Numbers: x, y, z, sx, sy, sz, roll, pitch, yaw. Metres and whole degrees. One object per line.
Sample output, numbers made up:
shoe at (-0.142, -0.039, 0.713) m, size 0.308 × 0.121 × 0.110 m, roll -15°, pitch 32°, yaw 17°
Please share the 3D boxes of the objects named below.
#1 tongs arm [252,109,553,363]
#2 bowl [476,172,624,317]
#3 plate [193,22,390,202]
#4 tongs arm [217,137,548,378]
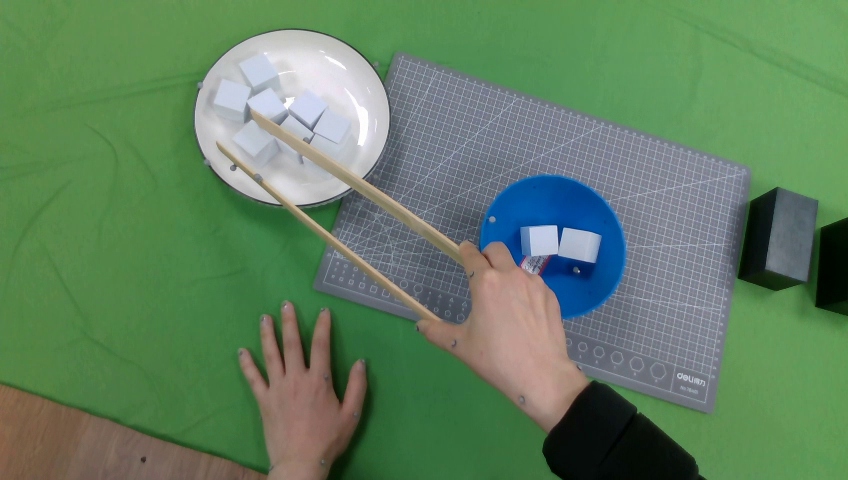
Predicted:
tongs arm at (-0.035, -0.022, 0.552) m, size 0.384 × 0.028 × 0.028 m, roll 37°, pitch 65°, yaw 23°
bowl at (0.122, 0.012, 0.636) m, size 0.152 × 0.077 × 0.150 m, roll 2°, pitch 76°, yaw -7°
plate at (-0.142, -0.137, 0.663) m, size 0.208 × 0.039 × 0.206 m, roll 1°, pitch 76°, yaw -5°
tongs arm at (-0.055, -0.001, 0.542) m, size 0.381 × 0.027 × 0.050 m, roll 39°, pitch 70°, yaw 24°
